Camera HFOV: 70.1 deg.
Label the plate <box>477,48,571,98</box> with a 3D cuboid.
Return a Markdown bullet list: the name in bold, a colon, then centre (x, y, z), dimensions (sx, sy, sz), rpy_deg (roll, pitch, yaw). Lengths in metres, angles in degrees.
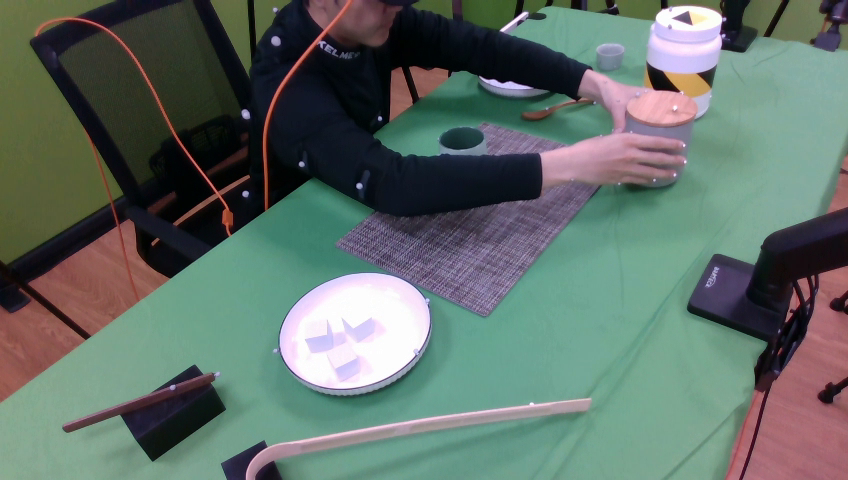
- **plate**: centre (0.223, -0.371, 1.357), dimensions (0.209, 0.038, 0.208), rpy_deg (-4, 41, 4)

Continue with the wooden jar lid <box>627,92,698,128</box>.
- **wooden jar lid**: centre (0.384, -0.207, 0.979), dimensions (0.108, 0.021, 0.108), rpy_deg (-6, 39, 5)

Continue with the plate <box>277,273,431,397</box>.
- **plate**: centre (-0.091, 0.129, 0.820), dimensions (0.207, 0.039, 0.206), rpy_deg (-4, 40, 4)

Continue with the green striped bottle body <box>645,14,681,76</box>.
- **green striped bottle body**: centre (0.520, -0.424, 1.312), dimensions (0.063, 0.120, 0.063), rpy_deg (-4, 41, 4)

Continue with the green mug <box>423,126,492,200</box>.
- **green mug**: centre (0.055, -0.126, 1.039), dimensions (0.126, 0.105, 0.091), rpy_deg (-25, 44, -18)

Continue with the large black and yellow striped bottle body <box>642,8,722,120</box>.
- **large black and yellow striped bottle body**: centre (0.493, -0.334, 1.161), dimensions (0.131, 0.185, 0.130), rpy_deg (-4, 41, 4)

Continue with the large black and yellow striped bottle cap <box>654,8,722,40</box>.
- **large black and yellow striped bottle cap**: centre (0.483, -0.397, 1.108), dimensions (0.115, 0.019, 0.114), rpy_deg (-3, 42, 3)

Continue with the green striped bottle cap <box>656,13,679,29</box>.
- **green striped bottle cap**: centre (0.515, -0.463, 1.278), dimensions (0.044, 0.020, 0.044), rpy_deg (-6, 42, 6)

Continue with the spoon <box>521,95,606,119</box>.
- **spoon**: centre (0.291, -0.277, 1.249), dimensions (0.194, 0.022, 0.041), rpy_deg (-18, 21, -11)

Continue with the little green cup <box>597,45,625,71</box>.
- **little green cup**: centre (0.423, -0.413, 1.376), dimensions (0.061, 0.039, 0.061), rpy_deg (-3, 41, 3)

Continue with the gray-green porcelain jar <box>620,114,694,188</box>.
- **gray-green porcelain jar**: centre (0.390, -0.161, 1.020), dimensions (0.106, 0.127, 0.105), rpy_deg (-4, 41, 4)

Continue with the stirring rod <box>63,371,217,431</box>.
- **stirring rod**: centre (-0.337, 0.192, 0.723), dimensions (0.177, 0.014, 0.005), rpy_deg (-18, 42, -12)

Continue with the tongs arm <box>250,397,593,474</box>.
- **tongs arm**: centre (0.008, 0.212, 0.675), dimensions (0.389, 0.028, 0.028), rpy_deg (-5, 46, -11)

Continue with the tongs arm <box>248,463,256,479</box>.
- **tongs arm**: centre (0.012, 0.262, 0.614), dimensions (0.385, 0.026, 0.050), rpy_deg (2, 42, -2)
